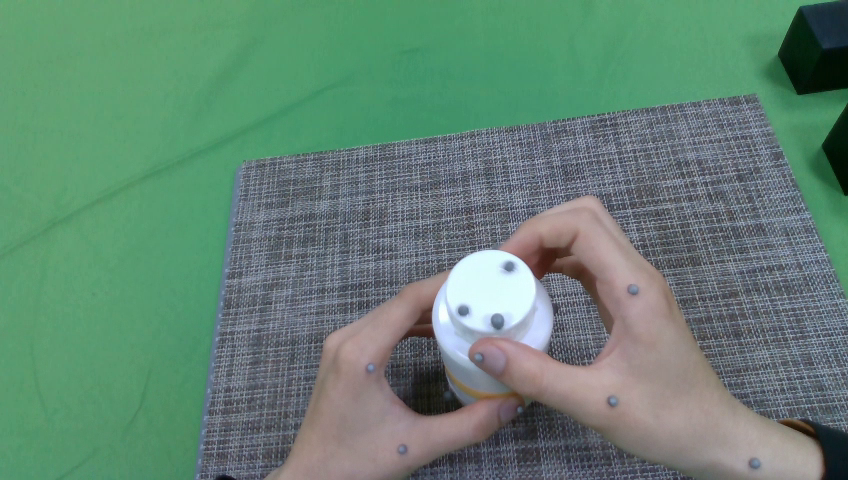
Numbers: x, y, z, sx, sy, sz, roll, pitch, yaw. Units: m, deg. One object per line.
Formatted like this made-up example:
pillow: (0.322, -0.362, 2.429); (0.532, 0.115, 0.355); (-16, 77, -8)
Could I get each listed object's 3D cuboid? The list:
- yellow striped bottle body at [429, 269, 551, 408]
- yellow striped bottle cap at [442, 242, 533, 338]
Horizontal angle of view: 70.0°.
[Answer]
yellow striped bottle body: (0.036, 0.050, 0.339); (0.063, 0.121, 0.062); (-2, 63, 5)
yellow striped bottle cap: (0.031, 0.024, 0.291); (0.044, 0.019, 0.044); (-2, 63, 5)
